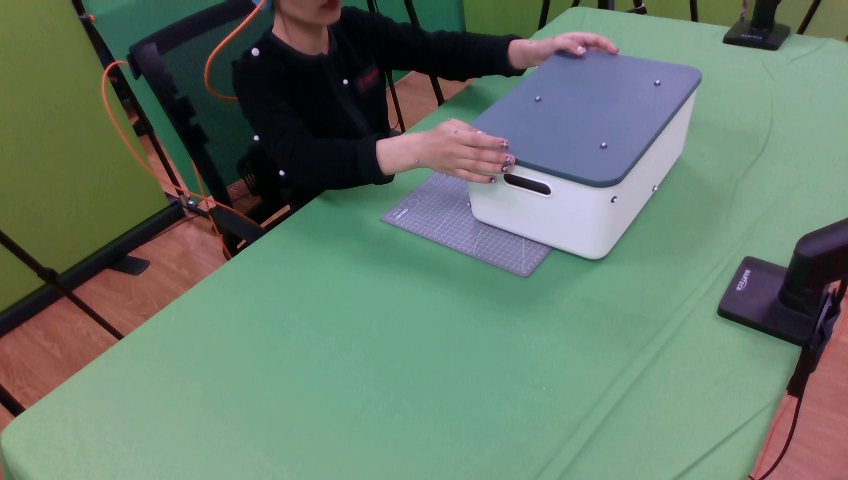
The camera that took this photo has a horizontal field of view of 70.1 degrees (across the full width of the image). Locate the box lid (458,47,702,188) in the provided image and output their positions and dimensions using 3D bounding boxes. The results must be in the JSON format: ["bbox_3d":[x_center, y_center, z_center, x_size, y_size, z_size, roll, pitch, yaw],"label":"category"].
[{"bbox_3d":[0.253,-0.211,0.954,0.261,0.015,0.372,22,49,30],"label":"box lid"}]

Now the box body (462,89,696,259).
[{"bbox_3d":[0.261,-0.153,1.001,0.252,0.161,0.365,21,48,31],"label":"box body"}]
